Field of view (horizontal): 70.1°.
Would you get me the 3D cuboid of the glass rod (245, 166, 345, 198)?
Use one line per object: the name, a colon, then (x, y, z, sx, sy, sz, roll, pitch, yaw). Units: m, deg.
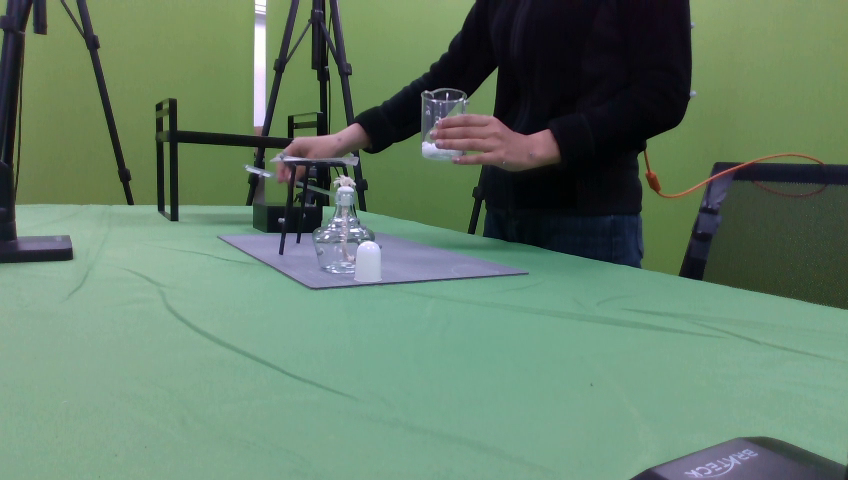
glass rod: (-0.240, -0.107, 1.145, 0.201, 0.008, 0.008, 16, 0, -29)

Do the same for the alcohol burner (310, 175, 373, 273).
alcohol burner: (-0.100, -0.020, 0.740, 0.078, 0.119, 0.078, 1, 6, 0)

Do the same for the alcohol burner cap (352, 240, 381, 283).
alcohol burner cap: (-0.065, 0.023, 0.690, 0.034, 0.048, 0.034, 2, 8, 0)

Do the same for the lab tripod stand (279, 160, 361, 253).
lab tripod stand: (-0.166, -0.052, 0.897, 0.148, 0.131, 0.148, 0, 7, 0)

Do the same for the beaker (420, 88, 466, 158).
beaker: (0.027, -0.182, 0.953, 0.073, 0.100, 0.084, 0, 0, 27)

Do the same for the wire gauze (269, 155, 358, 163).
wire gauze: (-0.159, -0.118, 0.886, 0.122, 0.011, 0.125, 1, 7, -9)
